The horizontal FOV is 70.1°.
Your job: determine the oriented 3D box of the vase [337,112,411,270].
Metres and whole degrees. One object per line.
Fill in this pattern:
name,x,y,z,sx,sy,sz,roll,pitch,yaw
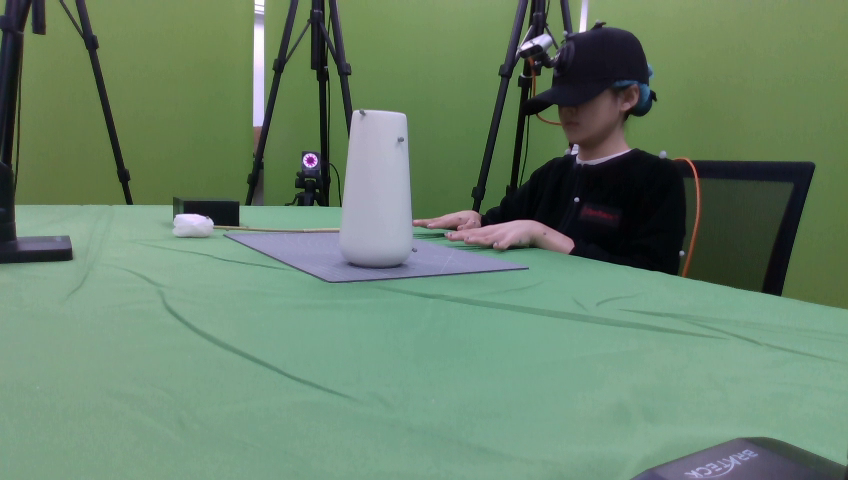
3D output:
vase,-0.064,-0.064,0.790,0.098,0.200,0.098,2,7,0

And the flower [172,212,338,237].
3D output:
flower,-0.254,-0.017,1.079,0.364,0.038,0.044,4,39,-31
